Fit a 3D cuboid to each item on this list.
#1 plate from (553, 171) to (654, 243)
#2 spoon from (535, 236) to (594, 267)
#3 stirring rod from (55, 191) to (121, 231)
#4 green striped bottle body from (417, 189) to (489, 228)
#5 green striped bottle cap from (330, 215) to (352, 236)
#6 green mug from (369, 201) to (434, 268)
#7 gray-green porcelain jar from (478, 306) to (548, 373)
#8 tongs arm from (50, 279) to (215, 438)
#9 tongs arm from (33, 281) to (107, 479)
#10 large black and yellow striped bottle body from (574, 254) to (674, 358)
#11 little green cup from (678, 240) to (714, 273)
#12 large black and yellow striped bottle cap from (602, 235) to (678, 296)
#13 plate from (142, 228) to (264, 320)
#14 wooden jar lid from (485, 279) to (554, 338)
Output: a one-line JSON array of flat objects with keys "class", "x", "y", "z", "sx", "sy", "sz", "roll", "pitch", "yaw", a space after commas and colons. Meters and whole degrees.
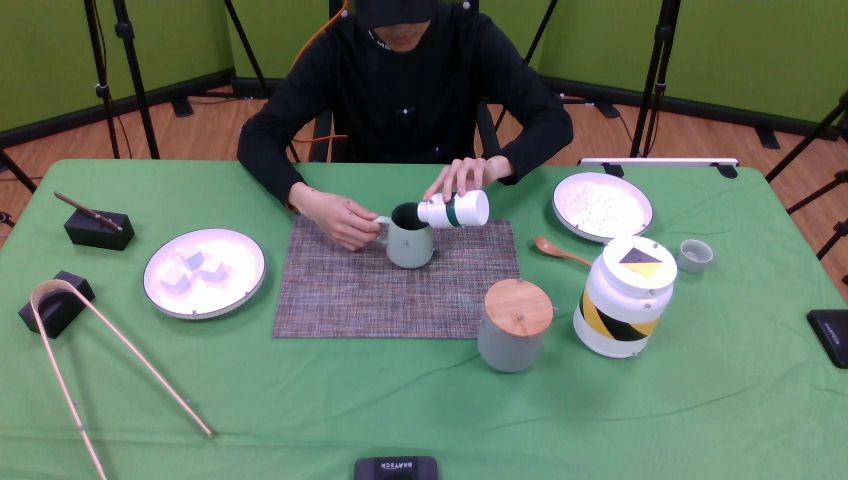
[{"class": "plate", "x": 0.373, "y": -0.066, "z": 1.275, "sx": 0.209, "sy": 0.038, "sz": 0.208, "roll": 2, "pitch": 46, "yaw": -2}, {"class": "spoon", "x": 0.303, "y": 0.040, "z": 1.178, "sx": 0.193, "sy": 0.022, "sz": 0.041, "roll": 25, "pitch": 30, "yaw": 19}, {"class": "stirring rod", "x": -0.632, "y": -0.055, "z": 1.138, "sx": 0.175, "sy": 0.014, "sz": 0.006, "roll": 24, "pitch": 50, "yaw": 19}, {"class": "green striped bottle body", "x": 0.049, "y": -0.054, "z": 1.063, "sx": 0.119, "sy": 0.063, "sz": 0.063, "roll": -2, "pitch": 41, "yaw": 28}, {"class": "green striped bottle cap", "x": -0.167, "y": -0.029, "z": 1.214, "sx": 0.044, "sy": 0.020, "sz": 0.044, "roll": 1, "pitch": 51, "yaw": -1}, {"class": "green mug", "x": -0.043, "y": -0.010, "z": 1.140, "sx": 0.125, "sy": 0.105, "sz": 0.092, "roll": 7, "pitch": 47, "yaw": 3}, {"class": "gray-green porcelain jar", "x": 0.144, "y": 0.148, "z": 0.989, "sx": 0.106, "sy": 0.127, "sz": 0.105, "roll": 2, "pitch": 50, "yaw": -2}, {"class": "tongs arm", "x": -0.459, "y": 0.178, "z": 0.949, "sx": 0.386, "sy": 0.028, "sz": 0.028, "roll": 37, "pitch": 60, "yaw": 17}, {"class": "tongs arm", "x": -0.517, "y": 0.214, "z": 0.910, "sx": 0.051, "sy": 0.026, "sz": 0.383, "roll": -28, "pitch": 63, "yaw": -27}, {"class": "large black and yellow striped bottle body", "x": 0.335, "y": 0.096, "z": 1.014, "sx": 0.131, "sy": 0.185, "sz": 0.130, "roll": 2, "pitch": 46, "yaw": -2}, {"class": "little green cup", "x": 0.530, "y": 0.033, "z": 1.190, "sx": 0.061, "sy": 0.039, "sz": 0.061, "roll": 2, "pitch": 46, "yaw": -1}, {"class": "large black and yellow striped bottle cap", "x": 0.340, "y": 0.037, "z": 0.955, "sx": 0.115, "sy": 0.019, "sz": 0.114, "roll": 2, "pitch": 47, "yaw": -2}, {"class": "plate", "x": -0.394, "y": 0.064, "z": 1.095, "sx": 0.208, "sy": 0.039, "sz": 0.206, "roll": 2, "pitch": 46, "yaw": -2}, {"class": "wooden jar lid", "x": 0.147, "y": 0.108, "z": 0.940, "sx": 0.108, "sy": 0.021, "sz": 0.107, "roll": 4, "pitch": 47, "yaw": -4}]
